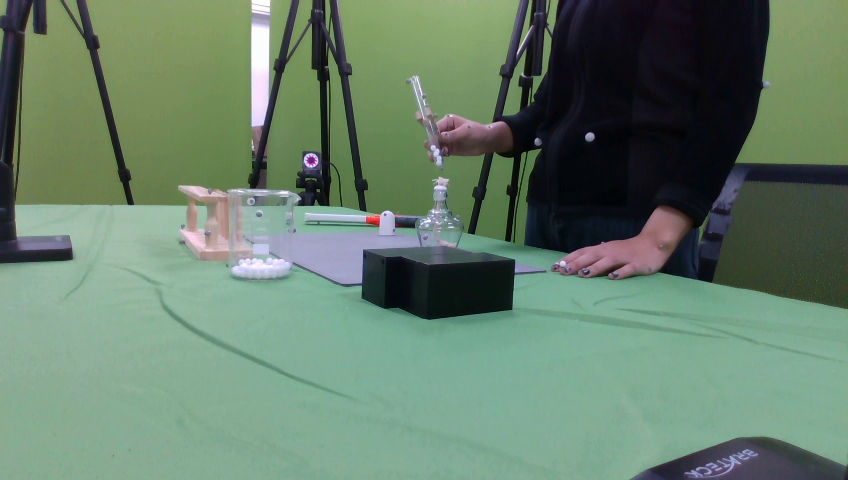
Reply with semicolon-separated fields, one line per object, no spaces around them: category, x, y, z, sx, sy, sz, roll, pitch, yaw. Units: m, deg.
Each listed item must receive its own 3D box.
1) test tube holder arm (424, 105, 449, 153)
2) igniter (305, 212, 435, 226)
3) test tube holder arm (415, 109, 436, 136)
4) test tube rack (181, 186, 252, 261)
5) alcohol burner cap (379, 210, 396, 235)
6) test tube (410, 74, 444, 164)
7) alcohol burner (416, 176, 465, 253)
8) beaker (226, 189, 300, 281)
test tube holder arm;0.024;-0.179;1.001;0.013;0.015;0.179;-17;-15;9
igniter;-0.114;-0.046;1.296;0.277;0.025;0.057;1;-2;-11
test tube holder arm;0.006;-0.186;0.960;0.010;0.015;0.088;-20;-15;16
test tube rack;-0.312;-0.031;0.893;0.067;0.085;0.241;-1;8;-27
alcohol burner cap;-0.067;-0.033;1.129;0.034;0.048;0.034;1;7;0
test tube;0.005;-0.187;0.936;0.017;0.150;0.017;-16;-10;-3
alcohol burner;0.025;-0.040;0.935;0.078;0.119;0.078;1;6;0
beaker;-0.184;-0.007;0.694;0.084;0.100;0.073;-1;8;-29
